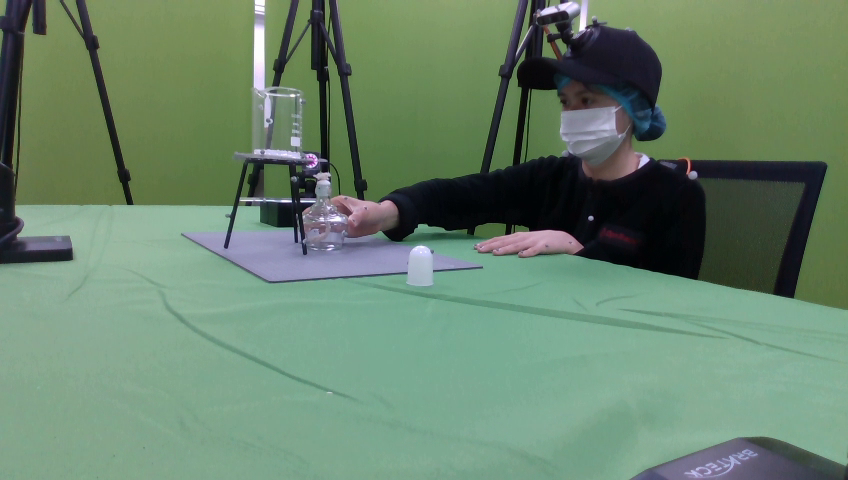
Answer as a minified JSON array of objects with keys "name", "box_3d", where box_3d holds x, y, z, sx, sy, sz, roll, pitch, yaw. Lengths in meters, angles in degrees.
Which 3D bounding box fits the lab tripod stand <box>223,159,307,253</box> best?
[{"name":"lab tripod stand","box_3d":[-0.220,-0.053,0.896,0.148,0.131,0.148,1,6,0]}]

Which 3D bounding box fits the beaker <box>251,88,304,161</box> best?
[{"name":"beaker","box_3d":[-0.214,-0.165,0.874,0.074,0.100,0.084,4,6,15]}]

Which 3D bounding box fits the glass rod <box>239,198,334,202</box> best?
[{"name":"glass rod","box_3d":[-0.277,-0.081,1.232,0.201,0.008,0.008,-1,8,-30]}]

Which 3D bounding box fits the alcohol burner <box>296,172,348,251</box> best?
[{"name":"alcohol burner","box_3d":[-0.154,-0.043,0.913,0.078,0.119,0.078,1,12,0]}]

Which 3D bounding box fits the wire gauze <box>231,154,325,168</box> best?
[{"name":"wire gauze","box_3d":[-0.215,-0.117,0.882,0.125,0.011,0.121,3,7,-19]}]

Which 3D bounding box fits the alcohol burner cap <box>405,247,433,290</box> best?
[{"name":"alcohol burner cap","box_3d":[-0.005,0.031,0.698,0.034,0.048,0.034,3,8,0]}]
